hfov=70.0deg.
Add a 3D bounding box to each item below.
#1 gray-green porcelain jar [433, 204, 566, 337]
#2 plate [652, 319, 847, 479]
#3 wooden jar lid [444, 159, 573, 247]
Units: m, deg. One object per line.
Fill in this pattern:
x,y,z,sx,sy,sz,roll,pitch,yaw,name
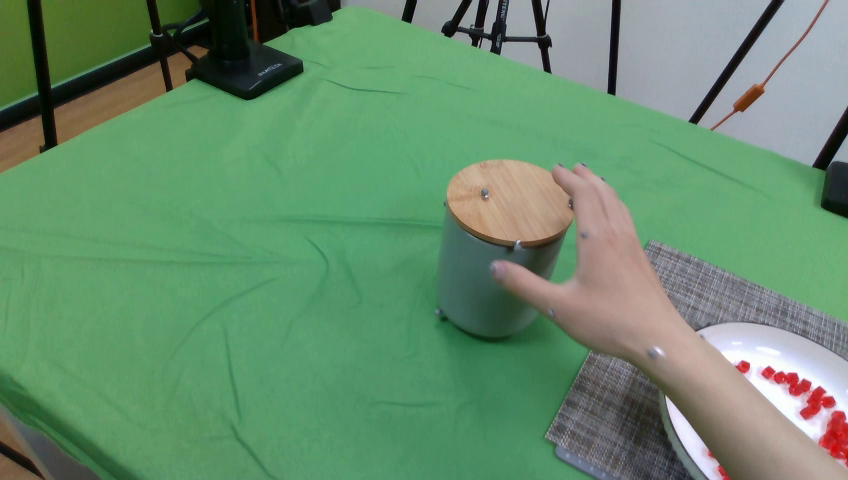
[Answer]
0.063,0.018,0.553,0.106,0.127,0.105,4,43,-3,gray-green porcelain jar
0.288,0.156,0.496,0.208,0.039,0.205,4,43,-4,plate
0.070,-0.029,0.509,0.108,0.021,0.107,3,45,-3,wooden jar lid
